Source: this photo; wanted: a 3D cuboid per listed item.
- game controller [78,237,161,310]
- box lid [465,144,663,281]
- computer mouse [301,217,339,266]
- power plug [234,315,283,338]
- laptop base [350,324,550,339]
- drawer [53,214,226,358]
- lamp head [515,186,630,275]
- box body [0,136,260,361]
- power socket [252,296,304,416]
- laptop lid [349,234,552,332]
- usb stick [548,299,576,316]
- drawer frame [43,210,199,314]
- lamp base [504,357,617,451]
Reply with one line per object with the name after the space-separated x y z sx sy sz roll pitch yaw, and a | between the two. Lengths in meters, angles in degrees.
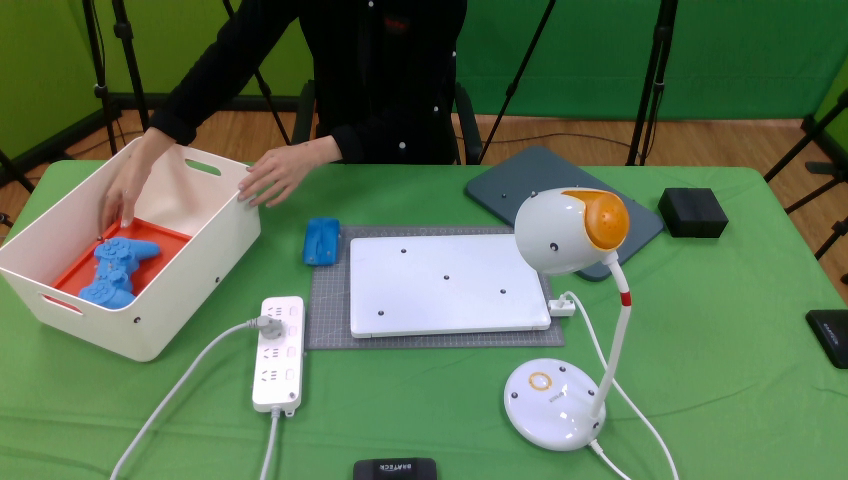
-0.496 0.055 0.986 0.097 0.052 0.154 -4 47 -3 | game controller
0.297 -0.073 1.298 0.263 0.015 0.369 -33 56 -31 | box lid
-0.200 -0.002 1.169 0.063 0.041 0.116 3 50 -3 | computer mouse
-0.270 0.143 1.000 0.072 0.053 0.035 4 47 2 | power plug
0.039 0.081 1.124 0.355 0.023 0.234 -2 43 -6 | laptop base
-0.490 0.076 1.059 0.194 0.073 0.211 17 58 10 | drawer
0.188 -0.013 0.728 0.112 0.112 0.122 -25 9 -25 | lamp head
-0.483 0.006 1.056 0.254 0.161 0.362 17 47 12 | box body
-0.238 0.182 0.997 0.072 0.033 0.225 -3 47 -5 | power socket
0.040 0.071 1.117 0.357 0.013 0.240 0 44 -5 | laptop lid
0.239 0.121 1.083 0.059 0.027 0.021 -1 50 -2 | usb stick
-0.488 0.067 1.042 0.201 0.083 0.212 15 53 13 | drawer frame
0.220 0.211 0.902 0.160 0.181 0.178 -32 59 -30 | lamp base
